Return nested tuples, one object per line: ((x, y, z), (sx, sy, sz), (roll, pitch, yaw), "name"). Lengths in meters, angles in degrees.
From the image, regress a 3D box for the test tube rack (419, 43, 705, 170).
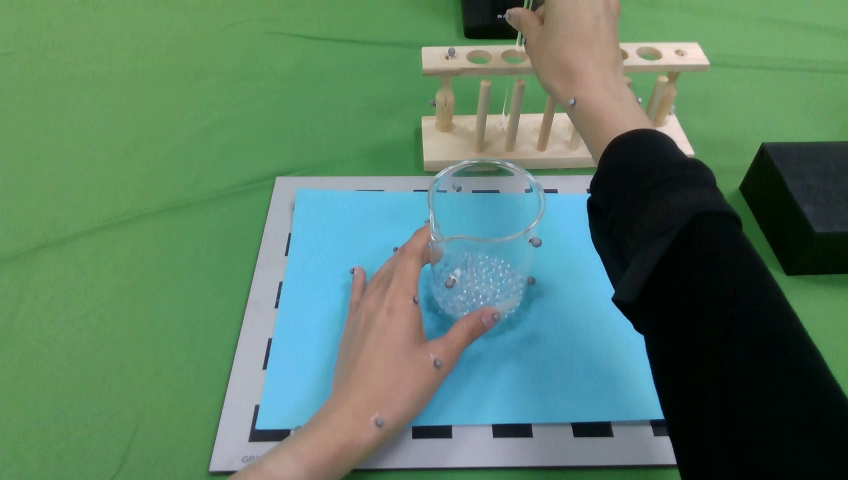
((0.117, -0.118, 0.538), (0.242, 0.086, 0.066), (-2, 48, -2), "test tube rack")

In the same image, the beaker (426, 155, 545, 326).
((0.036, 0.006, 0.412), (0.084, 0.101, 0.073), (-36, 57, -27), "beaker")

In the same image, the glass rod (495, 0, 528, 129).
((0.077, -0.175, 0.499), (0.008, 0.201, 0.008), (4, 46, -3), "glass rod")
